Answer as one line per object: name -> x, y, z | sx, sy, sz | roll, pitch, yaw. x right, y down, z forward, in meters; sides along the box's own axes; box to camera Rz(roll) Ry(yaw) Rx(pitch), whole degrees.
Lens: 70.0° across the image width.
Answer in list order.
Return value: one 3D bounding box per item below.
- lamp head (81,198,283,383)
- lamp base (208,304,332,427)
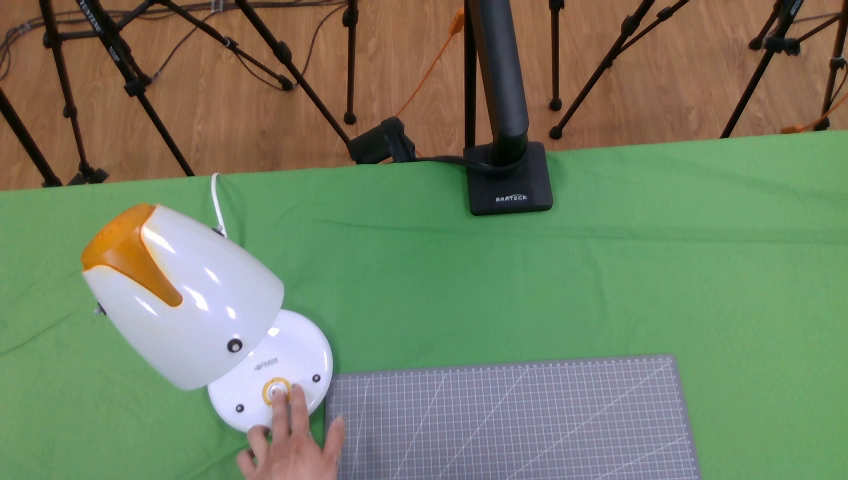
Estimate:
lamp head -> -0.185, 0.026, 0.451 | 0.112, 0.124, 0.111 | -29, 29, 18
lamp base -> -0.210, 0.118, 0.718 | 0.160, 0.182, 0.177 | -32, 65, -11
